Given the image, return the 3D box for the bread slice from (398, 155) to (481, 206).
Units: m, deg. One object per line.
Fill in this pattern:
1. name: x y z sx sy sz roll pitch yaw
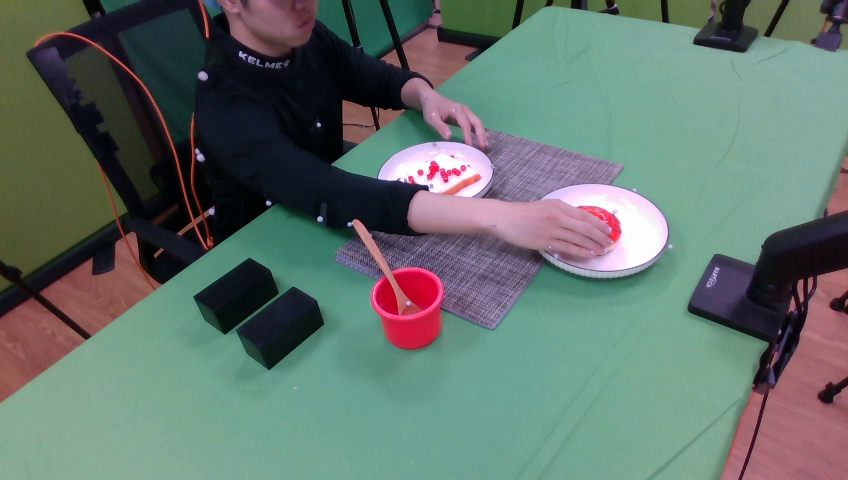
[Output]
1. bread slice: 0.021 -0.106 1.077 0.132 0.019 0.104 -31 46 -28

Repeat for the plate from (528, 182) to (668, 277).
1. plate: 0.264 -0.014 0.933 0.207 0.039 0.206 -3 42 3

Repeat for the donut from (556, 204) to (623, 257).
1. donut: 0.250 -0.017 0.915 0.099 0.048 0.098 -1 42 1

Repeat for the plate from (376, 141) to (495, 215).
1. plate: 0.022 -0.106 1.073 0.209 0.038 0.208 -4 40 4

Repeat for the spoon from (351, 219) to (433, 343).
1. spoon: -0.045 0.054 0.820 0.042 0.021 0.193 -28 89 -21
